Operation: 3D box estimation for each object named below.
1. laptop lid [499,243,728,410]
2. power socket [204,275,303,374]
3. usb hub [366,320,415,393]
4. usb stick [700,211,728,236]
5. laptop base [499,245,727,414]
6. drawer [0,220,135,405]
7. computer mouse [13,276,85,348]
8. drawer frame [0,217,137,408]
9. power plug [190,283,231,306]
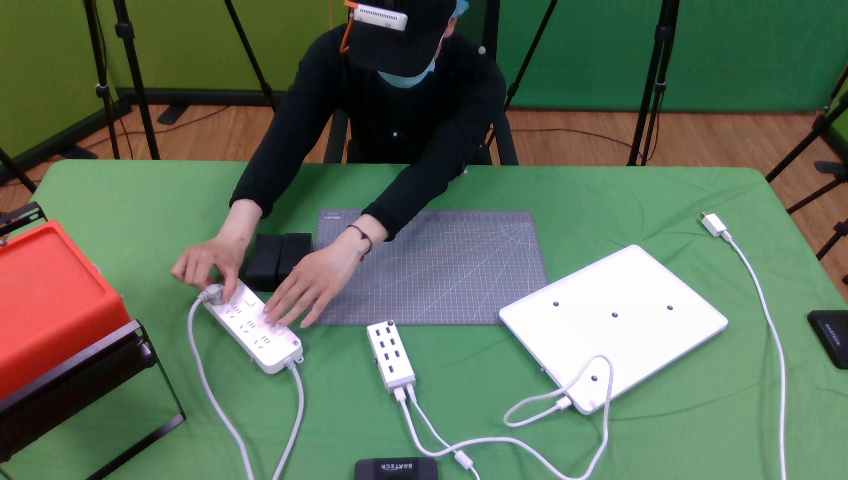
[{"bbox_3d":[0.338,0.135,1.081,0.357,0.013,0.240,-21,50,-23],"label":"laptop lid"},{"bbox_3d":[-0.295,0.141,1.035,0.072,0.033,0.225,-34,57,-30],"label":"power socket"},{"bbox_3d":[-0.056,0.192,1.009,0.049,0.025,0.124,-12,49,-16],"label":"usb hub"},{"bbox_3d":[0.606,-0.038,1.273,0.027,0.021,0.059,-18,56,-20],"label":"usb stick"},{"bbox_3d":[0.339,0.145,1.088,0.354,0.023,0.234,-23,49,-24],"label":"laptop base"},{"bbox_3d":[-0.522,0.093,0.782,0.211,0.073,0.193,-35,58,-31],"label":"drawer"},{"bbox_3d":[-0.496,0.090,0.804,0.063,0.041,0.116,-7,42,-7],"label":"computer mouse"},{"bbox_3d":[-0.523,0.094,0.779,0.200,0.083,0.213,37,55,26],"label":"drawer frame"},{"bbox_3d":[-0.367,0.099,1.038,0.072,0.053,0.035,-24,54,-26],"label":"power plug"}]
